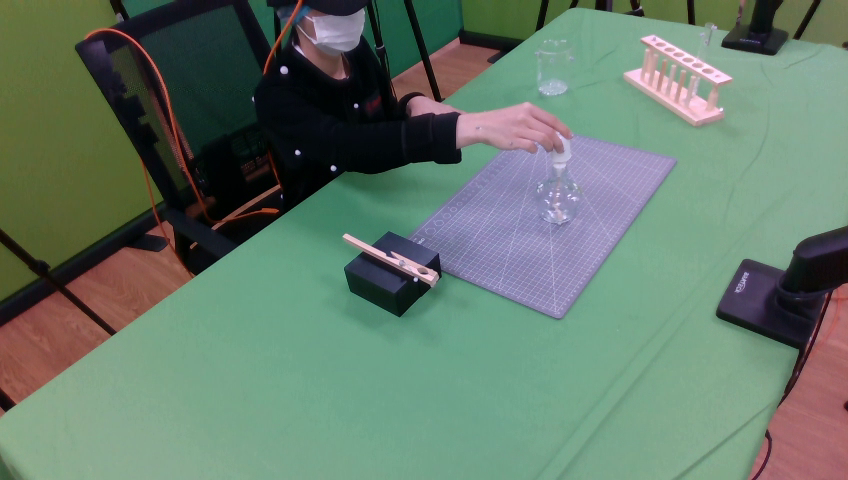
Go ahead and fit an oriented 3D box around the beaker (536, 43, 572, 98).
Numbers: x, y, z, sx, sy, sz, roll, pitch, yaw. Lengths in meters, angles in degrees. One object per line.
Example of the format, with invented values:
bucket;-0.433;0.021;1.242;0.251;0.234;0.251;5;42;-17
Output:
beaker;0.280;-0.368;1.311;0.074;0.101;0.084;4;41;14

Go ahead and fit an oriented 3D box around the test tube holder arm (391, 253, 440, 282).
test tube holder arm;-0.015;0.039;0.858;0.087;0.015;0.010;22;57;32

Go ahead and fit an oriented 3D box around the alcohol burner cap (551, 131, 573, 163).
alcohol burner cap;0.209;-0.144;0.921;0.034;0.048;0.033;-8;43;8

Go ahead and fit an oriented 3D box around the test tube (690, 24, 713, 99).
test tube;0.534;-0.342;1.173;0.017;0.151;0.017;-3;41;3

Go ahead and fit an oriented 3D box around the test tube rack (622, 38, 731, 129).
test tube rack;0.506;-0.325;1.234;0.067;0.085;0.240;-18;41;-11

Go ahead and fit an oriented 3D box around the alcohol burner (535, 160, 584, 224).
alcohol burner;0.217;-0.085;0.967;0.078;0.119;0.077;-3;41;3

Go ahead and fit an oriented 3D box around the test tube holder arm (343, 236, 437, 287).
test tube holder arm;-0.054;0.028;0.879;0.177;0.015;0.013;22;56;32
